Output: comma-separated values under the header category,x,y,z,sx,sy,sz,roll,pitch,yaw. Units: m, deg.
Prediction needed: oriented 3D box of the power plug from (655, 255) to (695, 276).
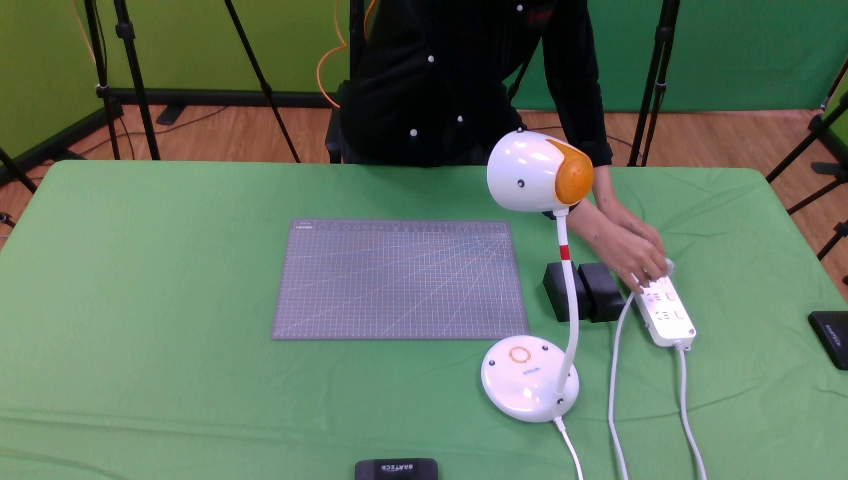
category,x,y,z,sx,sy,sz,roll,pitch,yaw
power plug,0.441,0.054,1.064,0.072,0.035,0.053,37,23,34

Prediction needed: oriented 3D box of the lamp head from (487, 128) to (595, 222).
category,x,y,z,sx,sy,sz,roll,pitch,yaw
lamp head,0.160,-0.084,0.791,0.112,0.113,0.122,-24,28,-25

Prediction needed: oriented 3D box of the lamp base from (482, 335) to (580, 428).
category,x,y,z,sx,sy,sz,roll,pitch,yaw
lamp base,0.185,0.177,0.928,0.161,0.181,0.178,-22,53,-23

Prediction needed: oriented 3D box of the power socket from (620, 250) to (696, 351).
category,x,y,z,sx,sy,sz,roll,pitch,yaw
power socket,0.428,0.104,1.121,0.072,0.033,0.225,-3,46,-5
